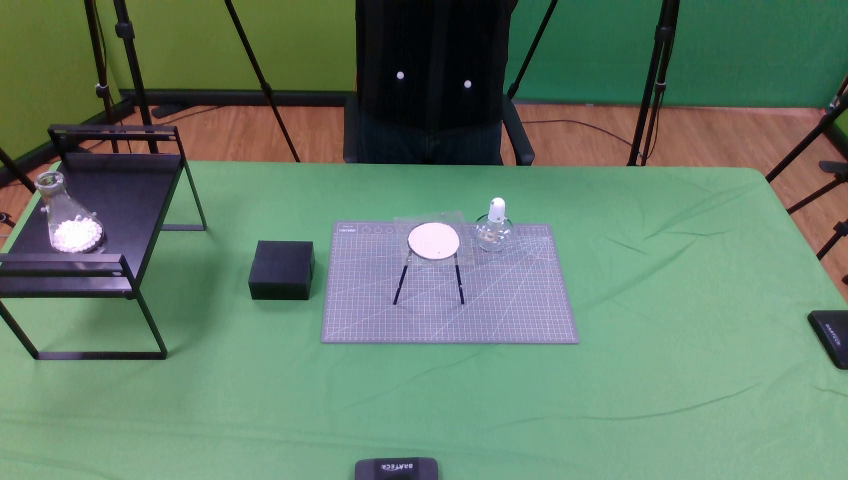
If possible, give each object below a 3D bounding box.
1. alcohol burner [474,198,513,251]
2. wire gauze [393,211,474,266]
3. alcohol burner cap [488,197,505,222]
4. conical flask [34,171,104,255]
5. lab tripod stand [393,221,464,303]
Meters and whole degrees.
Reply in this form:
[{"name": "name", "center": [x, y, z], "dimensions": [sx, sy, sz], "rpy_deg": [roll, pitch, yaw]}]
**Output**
[{"name": "alcohol burner", "center": [0.137, -0.035, 1.175], "dimensions": [0.078, 0.120, 0.077], "rpy_deg": [1, 47, -1]}, {"name": "wire gauze", "center": [0.015, -0.003, 1.028], "dimensions": [0.125, 0.011, 0.120], "rpy_deg": [-4, 47, -7]}, {"name": "alcohol burner cap", "center": [0.139, -0.060, 1.149], "dimensions": [0.034, 0.048, 0.033], "rpy_deg": [1, 43, 0]}, {"name": "conical flask", "center": [-0.522, -0.043, 0.879], "dimensions": [0.075, 0.122, 0.075], "rpy_deg": [2, 46, -2]}, {"name": "lab tripod stand", "center": [0.009, 0.045, 1.075], "dimensions": [0.148, 0.132, 0.147], "rpy_deg": [2, 48, -2]}]
